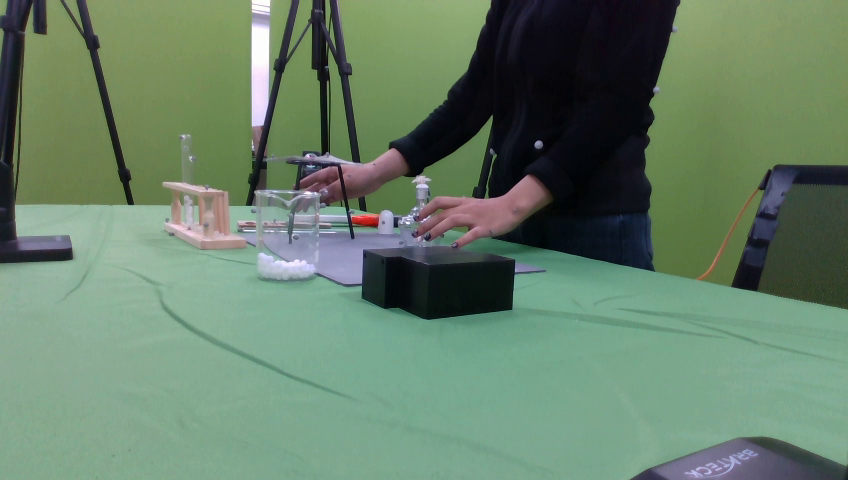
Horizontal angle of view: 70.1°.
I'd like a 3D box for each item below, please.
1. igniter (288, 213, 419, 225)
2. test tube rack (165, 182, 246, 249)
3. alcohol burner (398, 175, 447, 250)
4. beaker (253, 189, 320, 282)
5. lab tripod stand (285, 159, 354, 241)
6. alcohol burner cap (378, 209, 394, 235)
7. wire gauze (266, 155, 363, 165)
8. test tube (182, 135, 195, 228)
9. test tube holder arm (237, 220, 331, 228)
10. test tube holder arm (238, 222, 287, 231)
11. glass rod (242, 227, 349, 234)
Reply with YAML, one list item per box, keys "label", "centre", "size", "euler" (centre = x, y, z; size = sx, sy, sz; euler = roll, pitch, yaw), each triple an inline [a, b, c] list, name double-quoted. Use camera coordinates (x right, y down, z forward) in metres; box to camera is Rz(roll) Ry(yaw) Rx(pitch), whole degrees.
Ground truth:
- label: "igniter"
  centre: [-0.144, -0.044, 1.277]
  size: [0.278, 0.025, 0.057]
  euler: [-1, -2, -22]
- label: "test tube rack"
  centre: [-0.360, -0.045, 0.982]
  size: [0.067, 0.085, 0.241]
  euler: [-3, 9, -34]
- label: "alcohol burner"
  centre: [-0.002, -0.044, 0.959]
  size: [0.078, 0.119, 0.078]
  euler: [1, 9, 0]
- label: "beaker"
  centre: [-0.156, -0.005, 0.689]
  size: [0.074, 0.100, 0.083]
  euler: [0, 8, -14]
- label: "lab tripod stand"
  centre: [-0.187, -0.068, 1.013]
  size: [0.148, 0.131, 0.148]
  euler: [4, 9, 0]
- label: "alcohol burner cap"
  centre: [-0.072, -0.035, 1.146]
  size: [0.034, 0.048, 0.034]
  euler: [2, 7, 0]
- label: "wire gauze"
  centre: [-0.185, -0.136, 1.016]
  size: [0.126, 0.011, 0.121]
  euler: [-4, 11, -33]
- label: "test tube"
  centre: [-0.382, -0.095, 0.983]
  size: [0.017, 0.150, 0.017]
  euler: [-1, 2, 0]
- label: "test tube holder arm"
  centre: [-0.261, -0.029, 1.141]
  size: [0.179, 0.015, 0.013]
  euler: [-2, 42, -33]
- label: "test tube holder arm"
  centre: [-0.297, -0.024, 1.113]
  size: [0.088, 0.015, 0.010]
  euler: [-1, 42, -33]
- label: "glass rod"
  centre: [-0.232, -0.016, 1.110]
  size: [0.201, 0.008, 0.008]
  euler: [2, 6, -29]
